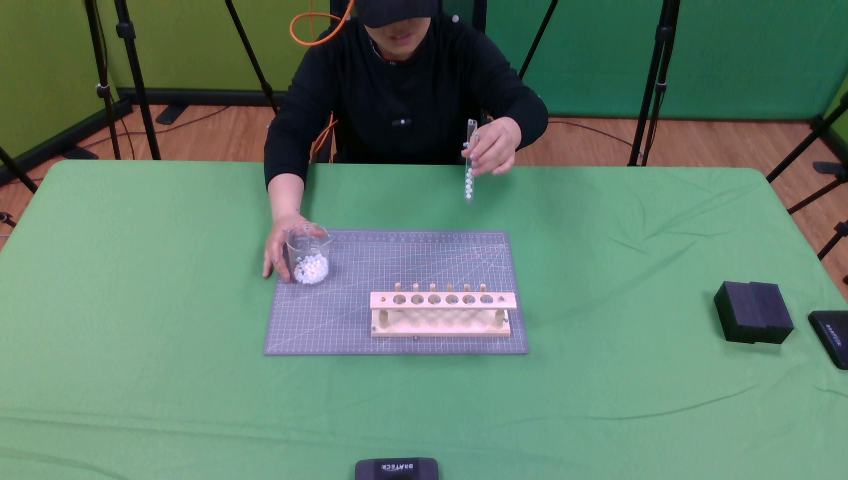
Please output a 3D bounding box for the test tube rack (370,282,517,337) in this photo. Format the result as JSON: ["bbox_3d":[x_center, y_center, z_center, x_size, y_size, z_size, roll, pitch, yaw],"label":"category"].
[{"bbox_3d":[0.030,0.116,1.042,0.242,0.085,0.066,1,46,-4],"label":"test tube rack"}]

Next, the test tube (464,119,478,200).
[{"bbox_3d":[0.077,-0.129,1.002,0.017,0.151,0.017,0,38,0],"label":"test tube"}]

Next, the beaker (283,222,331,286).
[{"bbox_3d":[-0.208,0.028,1.098,0.084,0.101,0.073,2,46,-4],"label":"beaker"}]
